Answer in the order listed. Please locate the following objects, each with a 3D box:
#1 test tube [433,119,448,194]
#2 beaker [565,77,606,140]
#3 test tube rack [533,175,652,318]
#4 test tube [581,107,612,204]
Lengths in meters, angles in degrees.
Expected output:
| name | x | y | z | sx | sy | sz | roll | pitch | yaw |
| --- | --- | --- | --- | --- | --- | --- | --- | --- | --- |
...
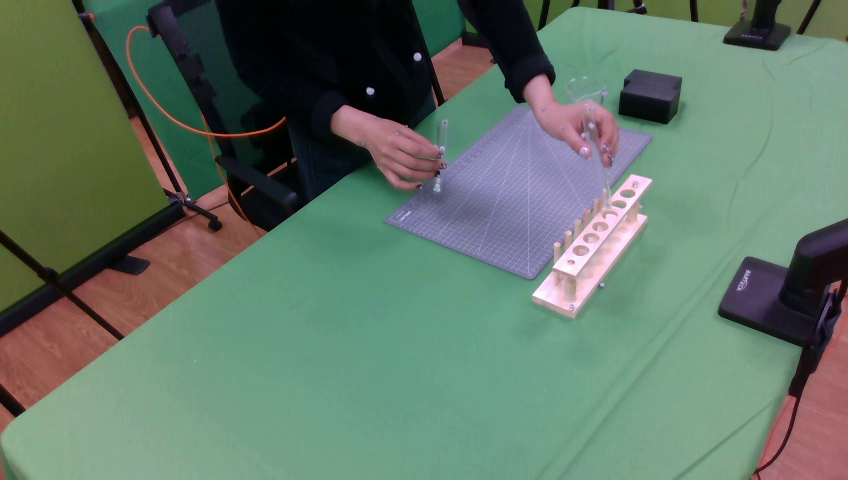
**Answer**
| name | x | y | z | sx | sy | sz | roll | pitch | yaw |
| --- | --- | --- | --- | --- | --- | --- | --- | --- | --- |
| test tube | 0.026 | -0.129 | 0.963 | 0.017 | 0.151 | 0.017 | 2 | 48 | -2 |
| beaker | 0.305 | -0.247 | 1.153 | 0.073 | 0.101 | 0.084 | 15 | 47 | 27 |
| test tube rack | 0.251 | -0.001 | 0.888 | 0.066 | 0.085 | 0.243 | 22 | 49 | 33 |
| test tube | 0.237 | -0.112 | 0.827 | 0.017 | 0.151 | 0.017 | -17 | 31 | 11 |
